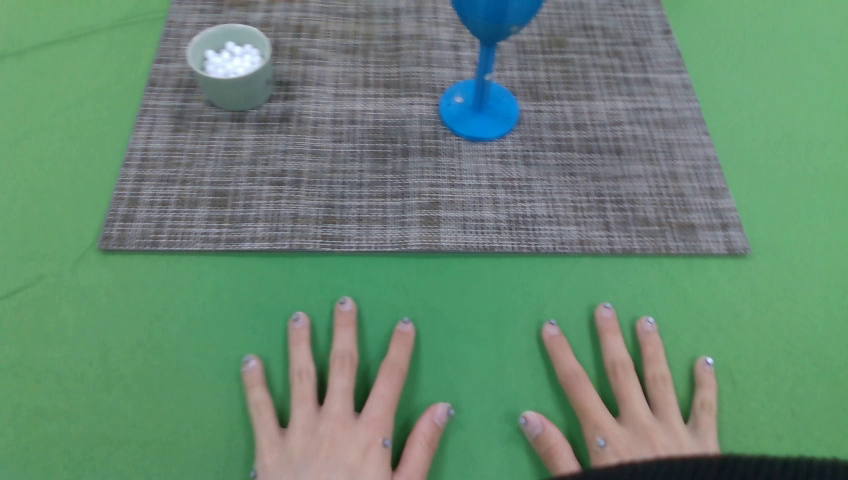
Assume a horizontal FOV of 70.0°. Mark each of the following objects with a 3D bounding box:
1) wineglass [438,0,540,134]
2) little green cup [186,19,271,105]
[{"bbox_3d":[0.045,-0.155,0.414,0.074,0.173,0.073,1,58,-2],"label":"wineglass"},{"bbox_3d":[-0.148,-0.137,0.470,0.061,0.039,0.061,2,57,-2],"label":"little green cup"}]
